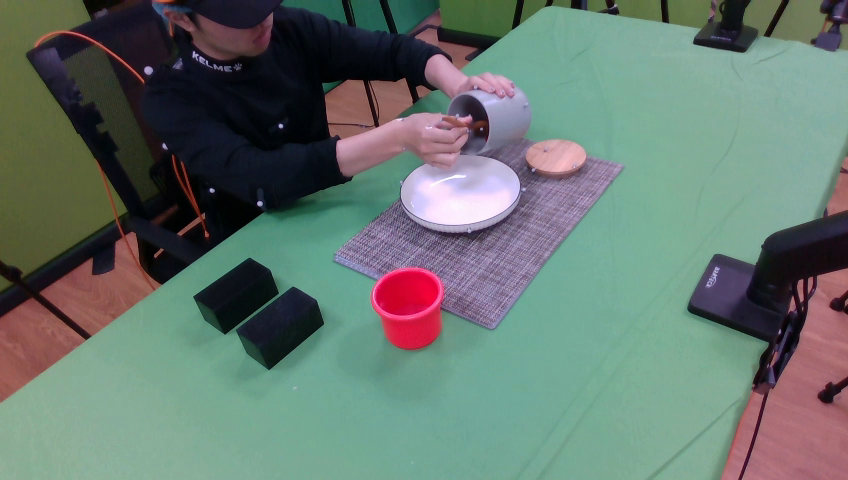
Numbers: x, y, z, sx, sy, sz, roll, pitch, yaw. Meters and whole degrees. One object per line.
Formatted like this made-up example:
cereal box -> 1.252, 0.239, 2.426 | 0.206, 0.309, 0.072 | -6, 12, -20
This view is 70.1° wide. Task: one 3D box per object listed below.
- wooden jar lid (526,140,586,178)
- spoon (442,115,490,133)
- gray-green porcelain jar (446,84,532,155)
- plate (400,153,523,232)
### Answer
wooden jar lid -> 0.240, -0.147, 1.103 | 0.108, 0.021, 0.108 | -4, 42, 4
spoon -> 0.078, -0.193, 1.016 | 0.041, 0.021, 0.195 | -1, 7, 27
gray-green porcelain jar -> 0.118, -0.214, 1.057 | 0.127, 0.106, 0.105 | -24, 41, -39
plate -> 0.065, -0.078, 1.034 | 0.207, 0.039, 0.206 | -4, 41, 4
